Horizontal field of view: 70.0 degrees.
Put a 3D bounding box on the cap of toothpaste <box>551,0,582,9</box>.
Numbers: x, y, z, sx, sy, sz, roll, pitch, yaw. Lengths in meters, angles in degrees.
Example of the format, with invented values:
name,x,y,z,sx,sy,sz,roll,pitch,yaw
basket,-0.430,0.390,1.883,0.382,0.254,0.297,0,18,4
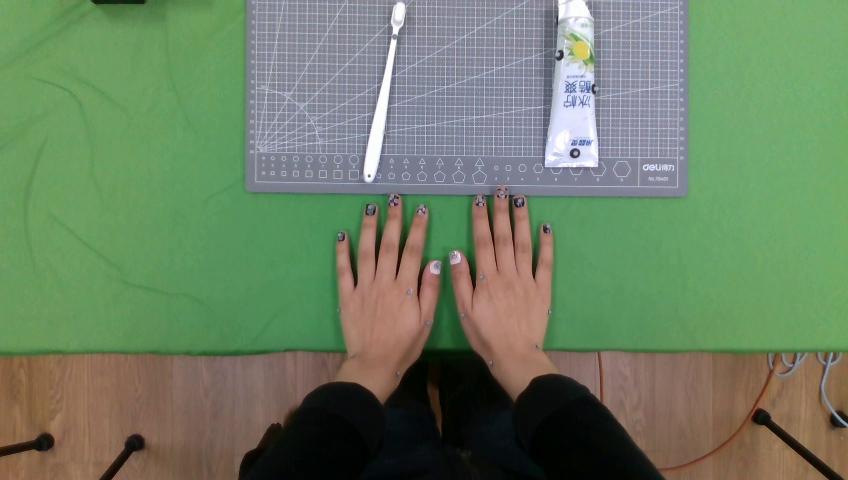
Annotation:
name,x,y,z,sx,sy,sz,roll,pitch,yaw
cap of toothpaste,0.146,-0.240,0.606,0.037,0.037,0.011,-12,86,-2

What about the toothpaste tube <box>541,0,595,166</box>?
name,x,y,z,sx,sy,sz,roll,pitch,yaw
toothpaste tube,0.146,-0.158,0.611,0.055,0.034,0.165,-1,93,5

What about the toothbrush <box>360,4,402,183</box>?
name,x,y,z,sx,sy,sz,roll,pitch,yaw
toothbrush,-0.043,-0.147,0.608,0.014,0.016,0.182,10,91,-15
